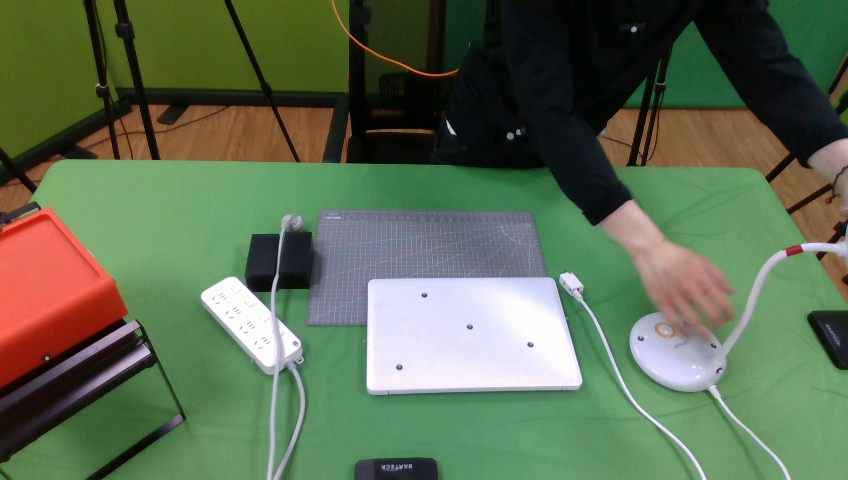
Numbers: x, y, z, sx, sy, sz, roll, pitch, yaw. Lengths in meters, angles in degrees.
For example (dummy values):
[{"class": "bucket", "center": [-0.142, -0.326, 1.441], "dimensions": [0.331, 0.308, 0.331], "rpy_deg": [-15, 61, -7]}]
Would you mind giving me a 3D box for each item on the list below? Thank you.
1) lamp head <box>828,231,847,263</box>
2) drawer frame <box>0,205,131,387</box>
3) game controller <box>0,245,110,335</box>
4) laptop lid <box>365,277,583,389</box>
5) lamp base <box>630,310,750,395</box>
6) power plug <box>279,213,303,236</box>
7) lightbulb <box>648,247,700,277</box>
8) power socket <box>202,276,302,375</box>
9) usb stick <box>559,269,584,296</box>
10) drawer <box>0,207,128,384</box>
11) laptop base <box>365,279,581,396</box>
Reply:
[{"class": "lamp head", "center": [0.576, -0.002, 0.750], "dimensions": [0.112, 0.123, 0.111], "rpy_deg": [0, 47, 0]}, {"class": "drawer frame", "center": [-0.540, 0.076, 0.795], "dimensions": [0.200, 0.083, 0.213], "rpy_deg": [36, 54, 26]}, {"class": "game controller", "center": [-0.510, 0.062, 0.830], "dimensions": [0.097, 0.052, 0.154], "rpy_deg": [-30, 58, -30]}, {"class": "laptop lid", "center": [0.077, 0.152, 1.046], "dimensions": [0.357, 0.013, 0.240], "rpy_deg": [1, 45, -3]}, {"class": "lamp base", "center": [0.447, 0.143, 0.984], "dimensions": [0.161, 0.181, 0.178], "rpy_deg": [-24, 55, -24]}, {"class": "power plug", "center": [-0.263, -0.021, 1.184], "dimensions": [0.035, 0.053, 0.072], "rpy_deg": [-2, 47, 32]}, {"class": "lightbulb", "center": [0.485, 0.046, 1.169], "dimensions": [0.108, 0.060, 0.059], "rpy_deg": [10, 45, -15]}, {"class": "power socket", "center": [-0.296, 0.142, 1.034], "dimensions": [0.072, 0.033, 0.225], "rpy_deg": [-34, 58, -31]}, {"class": "usb stick", "center": [0.274, 0.077, 1.141], "dimensions": [0.027, 0.021, 0.059], "rpy_deg": [-10, 40, -15]}, {"class": "drawer", "center": [-0.540, 0.074, 0.799], "dimensions": [0.193, 0.073, 0.211], "rpy_deg": [37, 55, 27]}, {"class": "laptop base", "center": [0.077, 0.162, 1.053], "dimensions": [0.355, 0.023, 0.234], "rpy_deg": [0, 44, -4]}]
